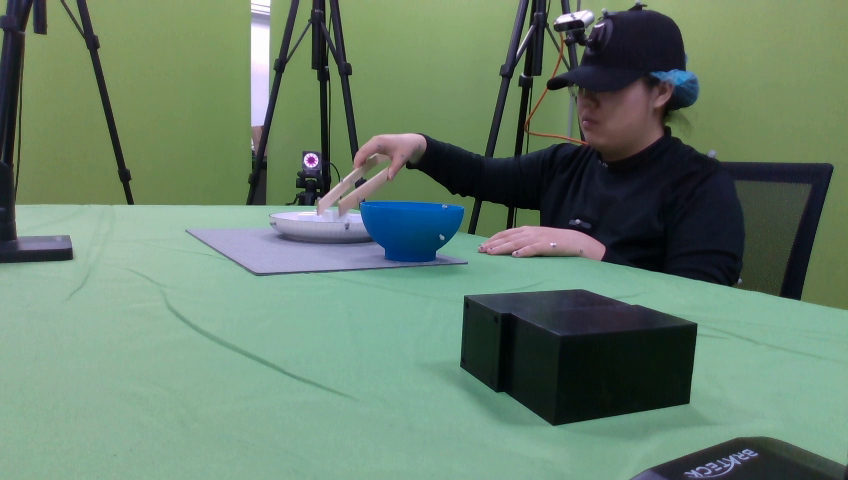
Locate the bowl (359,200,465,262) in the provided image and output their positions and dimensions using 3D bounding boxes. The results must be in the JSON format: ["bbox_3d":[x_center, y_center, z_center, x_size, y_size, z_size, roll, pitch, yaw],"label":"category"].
[{"bbox_3d":[-0.018,-0.013,0.859,0.151,0.077,0.151,2,7,0],"label":"bowl"}]

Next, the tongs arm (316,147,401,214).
[{"bbox_3d":[-0.112,-0.121,1.143,0.050,0.026,0.385,4,22,11],"label":"tongs arm"}]

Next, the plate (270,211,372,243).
[{"bbox_3d":[-0.161,-0.024,1.055,0.208,0.039,0.207,2,7,0],"label":"plate"}]

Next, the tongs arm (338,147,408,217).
[{"bbox_3d":[-0.088,-0.118,1.137,0.028,0.028,0.388,2,22,15],"label":"tongs arm"}]
